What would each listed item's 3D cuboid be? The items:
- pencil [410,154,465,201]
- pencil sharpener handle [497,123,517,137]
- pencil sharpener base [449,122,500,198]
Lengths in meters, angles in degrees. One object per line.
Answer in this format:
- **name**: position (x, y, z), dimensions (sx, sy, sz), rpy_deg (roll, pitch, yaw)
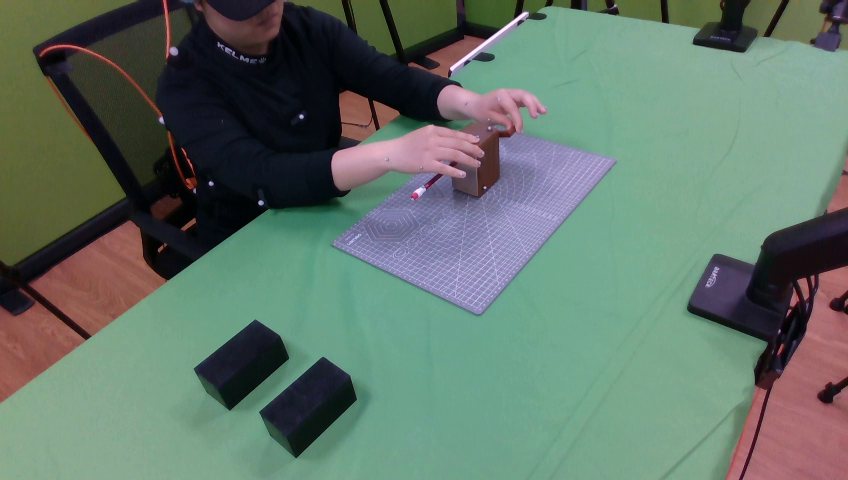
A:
- **pencil**: position (0.039, -0.116, 0.987), dimensions (0.012, 0.012, 0.194), rpy_deg (22, 46, 30)
- **pencil sharpener handle**: position (0.129, -0.190, 1.053), dimensions (0.067, 0.036, 0.031), rpy_deg (2, 36, 44)
- **pencil sharpener base**: position (0.091, -0.140, 1.052), dimensions (0.061, 0.107, 0.077), rpy_deg (21, 48, 30)
